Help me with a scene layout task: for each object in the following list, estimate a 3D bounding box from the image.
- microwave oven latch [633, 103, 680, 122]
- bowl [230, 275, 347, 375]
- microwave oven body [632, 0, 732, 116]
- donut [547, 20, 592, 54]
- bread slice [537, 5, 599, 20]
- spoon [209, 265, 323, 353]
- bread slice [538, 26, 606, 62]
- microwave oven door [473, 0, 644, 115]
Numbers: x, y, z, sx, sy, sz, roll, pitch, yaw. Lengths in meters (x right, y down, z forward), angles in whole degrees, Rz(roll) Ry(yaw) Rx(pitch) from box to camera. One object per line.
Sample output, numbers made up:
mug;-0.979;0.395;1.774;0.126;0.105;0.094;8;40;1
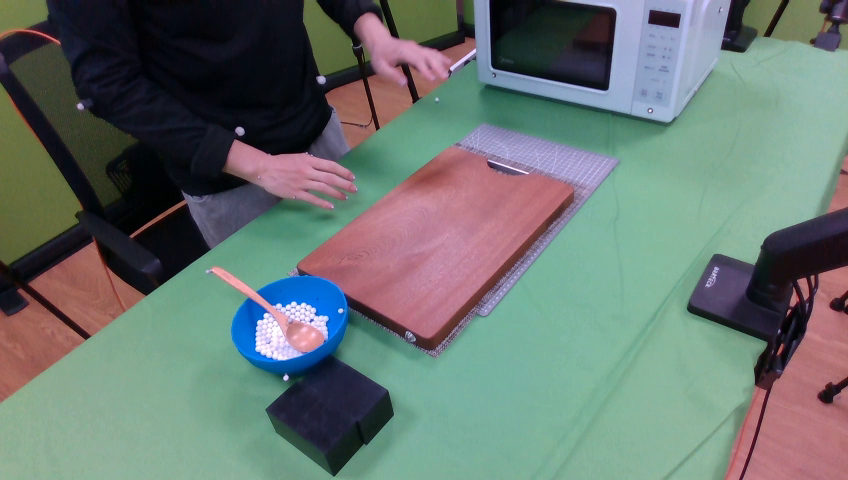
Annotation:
microwave oven latch;0.444;-0.249;1.158;0.078;0.029;0.030;21;49;30
bowl;-0.171;0.125;0.802;0.151;0.077;0.150;-4;40;4
microwave oven body;0.377;-0.462;1.267;0.438;0.261;0.327;21;49;30
donut;0.312;-0.438;1.299;0.099;0.048;0.098;-20;35;16
bread slice;0.308;-0.482;1.278;0.106;0.018;0.134;12;30;25
spoon;-0.213;0.087;0.806;0.193;0.021;0.042;37;57;11
bread slice;0.333;-0.438;1.338;0.132;0.019;0.104;-37;43;-21
microwave oven door;0.257;-0.396;1.199;0.353;0.245;0.039;21;48;29
